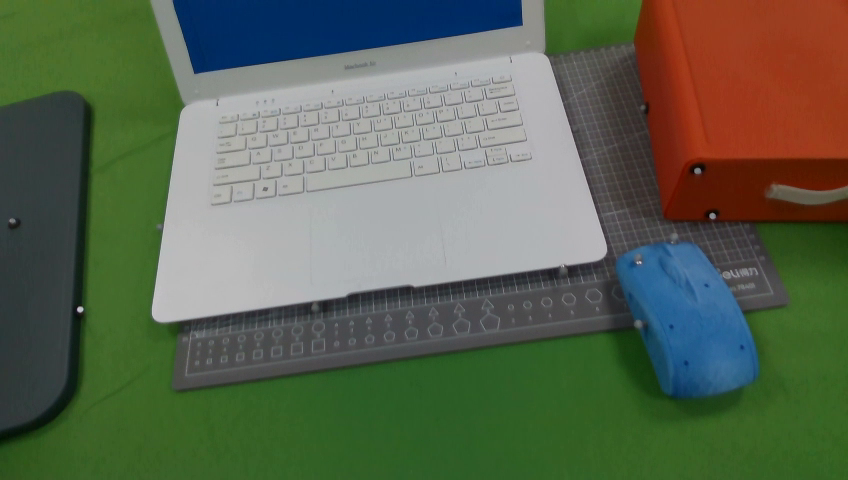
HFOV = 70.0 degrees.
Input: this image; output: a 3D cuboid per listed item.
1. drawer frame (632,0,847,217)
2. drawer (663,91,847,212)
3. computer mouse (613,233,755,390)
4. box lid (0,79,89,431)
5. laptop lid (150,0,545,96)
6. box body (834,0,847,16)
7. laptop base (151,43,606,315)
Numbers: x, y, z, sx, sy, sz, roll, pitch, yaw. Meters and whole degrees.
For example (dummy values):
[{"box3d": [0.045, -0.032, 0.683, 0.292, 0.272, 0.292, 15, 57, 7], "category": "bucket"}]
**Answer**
[{"box3d": [0.285, -0.125, 0.487, 0.201, 0.083, 0.211, 0, 57, 6], "category": "drawer frame"}, {"box3d": [0.285, -0.123, 0.486, 0.194, 0.074, 0.210, 1, 57, 6], "category": "drawer"}, {"box3d": [0.177, 0.044, 0.417, 0.063, 0.041, 0.116, -11, 56, 2], "category": "computer mouse"}, {"box3d": [-0.426, 0.013, 0.522, 0.263, 0.015, 0.367, -16, 57, -4], "category": "box lid"}, {"box3d": [-0.074, -0.261, 0.530, 0.357, 0.243, 0.013, -9, 27, 1], "category": "laptop lid"}, {"box3d": [0.522, -0.200, 0.463, 0.254, 0.162, 0.360, -12, 57, -2], "category": "box body"}, {"box3d": [-0.047, -0.061, 0.522, 0.354, 0.023, 0.233, -8, 61, 1], "category": "laptop base"}]
